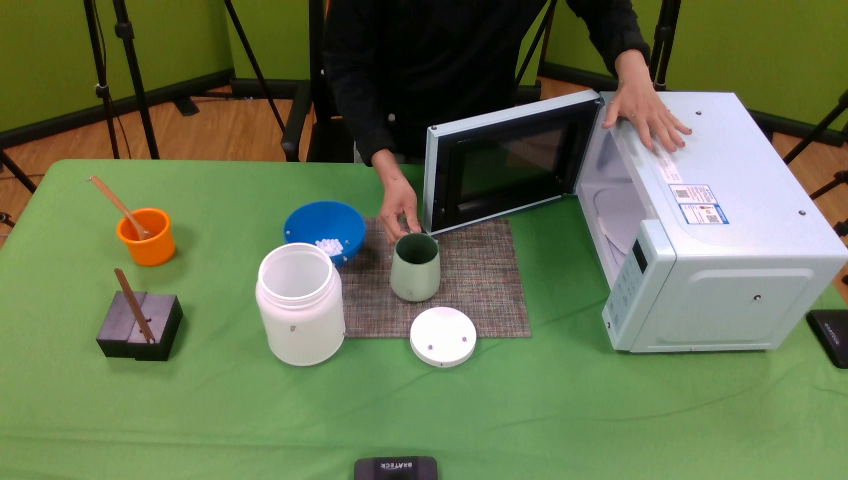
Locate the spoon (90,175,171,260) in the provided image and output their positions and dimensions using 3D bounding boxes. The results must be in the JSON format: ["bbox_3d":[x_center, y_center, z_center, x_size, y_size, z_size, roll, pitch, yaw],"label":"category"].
[{"bbox_3d":[-0.538,-0.042,1.111,0.041,0.194,0.021,-46,19,-32],"label":"spoon"}]

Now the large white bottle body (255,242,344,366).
[{"bbox_3d":[-0.196,0.102,0.967,0.131,0.185,0.130,2,49,-2],"label":"large white bottle body"}]

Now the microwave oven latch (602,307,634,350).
[{"bbox_3d":[0.332,0.152,1.044,0.030,0.029,0.078,-1,45,-4],"label":"microwave oven latch"}]

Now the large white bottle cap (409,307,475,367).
[{"bbox_3d":[0.031,0.165,1.041,0.115,0.018,0.114,2,47,-2],"label":"large white bottle cap"}]

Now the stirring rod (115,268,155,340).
[{"bbox_3d":[-0.479,0.103,0.999,0.014,0.006,0.175,7,32,-50],"label":"stirring rod"}]

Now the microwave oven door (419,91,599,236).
[{"bbox_3d":[0.164,-0.150,1.184,0.356,0.245,0.039,-17,49,-19],"label":"microwave oven door"}]

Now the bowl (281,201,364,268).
[{"bbox_3d":[-0.187,0.005,1.138,0.151,0.077,0.150,3,46,-3],"label":"bowl"}]

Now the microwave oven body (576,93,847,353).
[{"bbox_3d":[0.475,-0.042,1.109,0.326,0.261,0.438,-1,45,-4],"label":"microwave oven body"}]

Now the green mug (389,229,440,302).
[{"bbox_3d":[-0.017,0.039,1.100,0.092,0.105,0.124,-2,46,-5],"label":"green mug"}]
